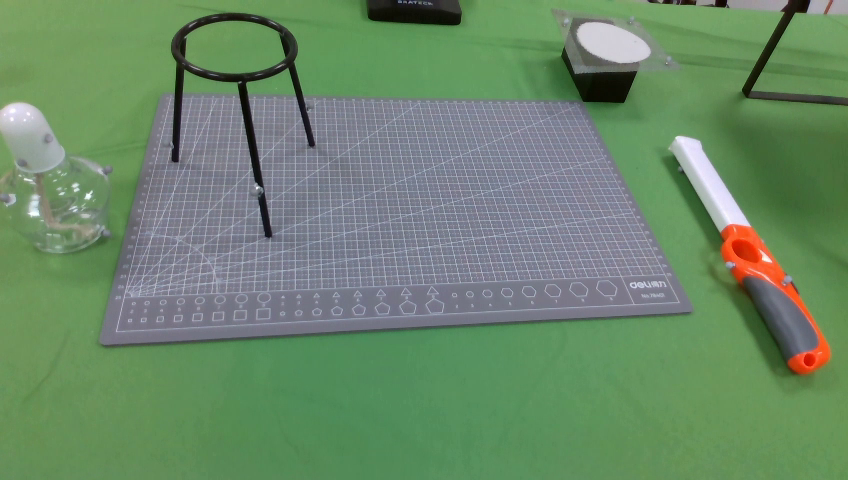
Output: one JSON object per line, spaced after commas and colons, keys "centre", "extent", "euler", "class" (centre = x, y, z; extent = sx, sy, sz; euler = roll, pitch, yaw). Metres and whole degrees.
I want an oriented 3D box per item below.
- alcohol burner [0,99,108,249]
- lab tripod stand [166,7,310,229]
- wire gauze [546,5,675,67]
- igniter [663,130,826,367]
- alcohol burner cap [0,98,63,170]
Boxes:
{"centre": [-0.276, -0.051, 0.439], "extent": [0.078, 0.120, 0.077], "euler": [6, 45, -5], "class": "alcohol burner"}
{"centre": [-0.146, -0.103, 0.490], "extent": [0.149, 0.132, 0.147], "euler": [6, 48, -6], "class": "lab tripod stand"}
{"centre": [0.208, -0.231, 0.689], "extent": [0.122, 0.011, 0.123], "euler": [0, 48, -11], "class": "wire gauze"}
{"centre": [0.281, -0.007, 0.548], "extent": [0.057, 0.025, 0.273], "euler": [8, 47, -17], "class": "igniter"}
{"centre": [-0.272, -0.074, 0.412], "extent": [0.034, 0.048, 0.033], "euler": [4, 54, -5], "class": "alcohol burner cap"}
